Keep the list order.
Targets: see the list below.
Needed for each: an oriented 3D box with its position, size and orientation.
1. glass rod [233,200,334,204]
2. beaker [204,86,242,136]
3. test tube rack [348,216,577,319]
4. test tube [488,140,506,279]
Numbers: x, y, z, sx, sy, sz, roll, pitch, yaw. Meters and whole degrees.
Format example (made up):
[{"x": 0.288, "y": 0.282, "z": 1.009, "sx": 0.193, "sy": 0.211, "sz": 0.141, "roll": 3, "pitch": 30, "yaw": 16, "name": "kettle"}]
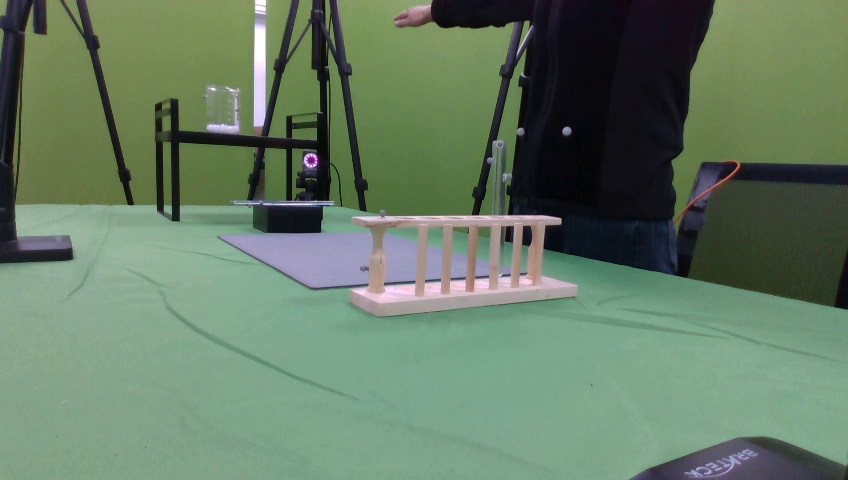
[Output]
[{"x": -0.262, "y": -0.071, "z": 1.146, "sx": 0.201, "sy": 0.008, "sz": 0.008, "roll": -2, "pitch": 9, "yaw": -34, "name": "glass rod"}, {"x": -0.429, "y": -0.276, "z": 1.300, "sx": 0.083, "sy": 0.100, "sz": 0.074, "roll": 9, "pitch": 10, "yaw": 37, "name": "beaker"}, {"x": 0.048, "y": 0.021, "z": 0.619, "sx": 0.244, "sy": 0.085, "sz": 0.066, "roll": -2, "pitch": 9, "yaw": -31, "name": "test tube rack"}, {"x": 0.079, "y": -0.032, "z": 0.653, "sx": 0.017, "sy": 0.150, "sz": 0.017, "roll": 1, "pitch": 2, "yaw": 0, "name": "test tube"}]
